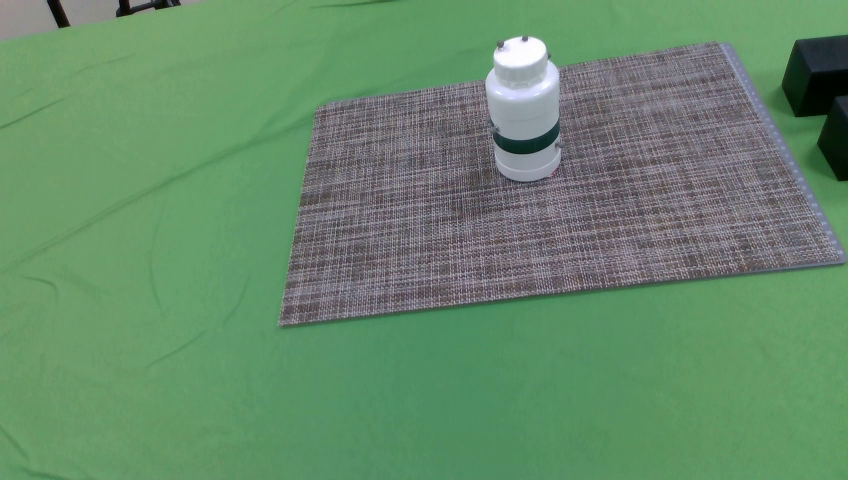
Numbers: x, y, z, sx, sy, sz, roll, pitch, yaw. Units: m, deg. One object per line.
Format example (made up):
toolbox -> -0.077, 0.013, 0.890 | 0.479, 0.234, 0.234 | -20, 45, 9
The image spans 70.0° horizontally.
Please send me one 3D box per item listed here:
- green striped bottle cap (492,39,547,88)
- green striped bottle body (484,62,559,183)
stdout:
green striped bottle cap -> 0.079, -0.146, 0.502 | 0.044, 0.020, 0.044 | -8, 50, 10
green striped bottle body -> 0.088, -0.114, 0.542 | 0.063, 0.120, 0.062 | -7, 49, 8
